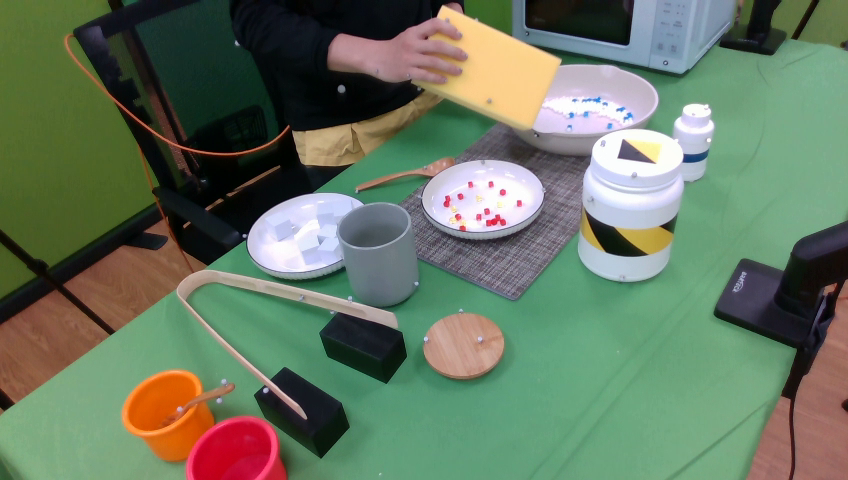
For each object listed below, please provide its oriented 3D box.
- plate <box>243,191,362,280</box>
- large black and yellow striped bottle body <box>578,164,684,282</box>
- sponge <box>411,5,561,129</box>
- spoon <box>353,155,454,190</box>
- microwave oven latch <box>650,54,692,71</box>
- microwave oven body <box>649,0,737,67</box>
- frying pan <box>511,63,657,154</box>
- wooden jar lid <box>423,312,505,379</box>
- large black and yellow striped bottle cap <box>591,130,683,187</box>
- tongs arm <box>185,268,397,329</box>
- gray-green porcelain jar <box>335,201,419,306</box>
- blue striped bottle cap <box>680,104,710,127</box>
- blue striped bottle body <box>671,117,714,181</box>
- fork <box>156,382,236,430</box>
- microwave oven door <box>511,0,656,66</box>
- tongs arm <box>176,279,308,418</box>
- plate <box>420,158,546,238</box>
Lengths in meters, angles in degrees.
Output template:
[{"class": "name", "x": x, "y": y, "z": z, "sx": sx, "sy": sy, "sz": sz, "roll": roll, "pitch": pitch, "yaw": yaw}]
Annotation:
[{"class": "plate", "x": -0.187, "y": -0.005, "z": 0.992, "sx": 0.207, "sy": 0.039, "sz": 0.206, "roll": -3, "pitch": 41, "yaw": 4}, {"class": "large black and yellow striped bottle body", "x": 0.291, "y": -0.046, "z": 0.859, "sx": 0.131, "sy": 0.185, "sz": 0.130, "roll": -4, "pitch": 41, "yaw": 4}, {"class": "sponge", "x": 0.097, "y": -0.271, "z": 0.967, "sx": 0.207, "sy": 0.118, "sz": 0.060, "roll": 21, "pitch": 5, "yaw": -9}, {"class": "spoon", "x": -0.038, "y": -0.123, "z": 1.115, "sx": 0.194, "sy": 0.022, "sz": 0.041, "roll": -12, "pitch": 58, "yaw": -4}, {"class": "microwave oven latch", "x": 0.531, "y": -0.386, "z": 1.301, "sx": 0.078, "sy": 0.029, "sz": 0.030, "roll": 25, "pitch": 51, "yaw": 32}, {"class": "microwave oven body", "x": 0.475, "y": -0.602, "z": 1.411, "sx": 0.438, "sy": 0.261, "sz": 0.327, "roll": 23, "pitch": 50, "yaw": 32}, {"class": "frying pan", "x": 0.215, "y": -0.303, "z": 1.224, "sx": 0.484, "sy": 0.103, "sz": 0.308, "roll": 29, "pitch": 50, "yaw": 24}, {"class": "wooden jar lid", "x": 0.053, "y": 0.142, "z": 0.800, "sx": 0.108, "sy": 0.021, "sz": 0.108, "roll": -5, "pitch": 39, "yaw": 4}, {"class": "large black and yellow striped bottle cap", "x": 0.282, "y": -0.111, "z": 0.803, "sx": 0.115, "sy": 0.019, "sz": 0.114, "roll": -3, "pitch": 41, "yaw": 3}, {"class": "tongs arm", "x": -0.202, "y": 0.084, "z": 0.848, "sx": 0.382, "sy": 0.027, "sz": 0.051, "roll": 11, "pitch": 44, "yaw": 35}, {"class": "gray-green porcelain jar", "x": -0.064, "y": 0.024, "z": 0.872, "sx": 0.106, "sy": 0.127, "sz": 0.105, "roll": -4, "pitch": 41, "yaw": 4}, {"class": "blue striped bottle cap", "x": 0.443, "y": -0.205, "z": 0.989, "sx": 0.044, "sy": 0.021, "sz": 0.044, "roll": -1, "pitch": 41, "yaw": 2}, {"class": "blue striped bottle body", "x": 0.449, "y": -0.165, "z": 1.022, "sx": 0.063, "sy": 0.121, "sz": 0.063, "roll": -5, "pitch": 41, "yaw": 4}, {"class": "fork", "x": -0.262, "y": 0.189, "z": 0.690, "sx": 0.018, "sy": 0.206, "sz": 0.028, "roll": 49, "pitch": 43, "yaw": -7}, {"class": "microwave oven door", "x": 0.351, "y": -0.539, "z": 1.349, "sx": 0.353, "sy": 0.245, "sz": 0.039, "roll": 24, "pitch": 50, "yaw": 31}, {"class": "tongs arm", "x": -0.255, "y": 0.132, "z": 0.801, "sx": 0.028, "sy": 0.028, "sz": 0.384, "roll": -41, "pitch": 40, "yaw": -23}, {"class": "plate", "x": 0.099, "y": -0.067, "z": 1.017, "sx": 0.209, "sy": 0.038, "sz": 0.208, "roll": -4, "pitch": 40, "yaw": 4}]
